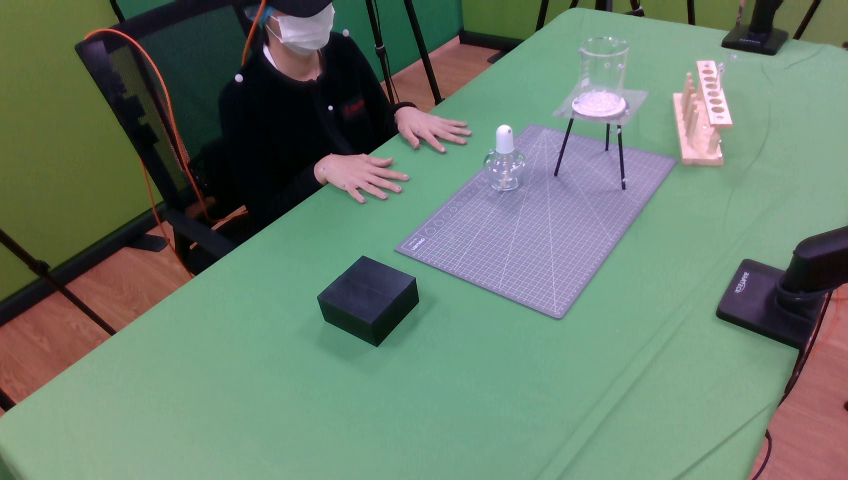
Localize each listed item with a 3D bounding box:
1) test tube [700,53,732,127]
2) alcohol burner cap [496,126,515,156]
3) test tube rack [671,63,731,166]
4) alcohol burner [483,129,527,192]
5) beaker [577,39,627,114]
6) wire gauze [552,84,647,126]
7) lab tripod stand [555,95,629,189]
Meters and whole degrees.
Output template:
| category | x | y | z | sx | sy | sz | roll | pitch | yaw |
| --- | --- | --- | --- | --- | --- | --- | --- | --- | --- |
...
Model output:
| category | x | y | z | sx | sy | sz | roll | pitch | yaw |
| --- | --- | --- | --- | --- | --- | --- | --- | --- | --- |
| test tube | 0.521 | -0.265 | 1.081 | 0.017 | 0.151 | 0.017 | -3 | 47 | 3 |
| alcohol burner cap | 0.138 | -0.172 | 1.028 | 0.034 | 0.048 | 0.033 | -5 | 38 | 5 |
| test tube rack | 0.513 | -0.241 | 1.132 | 0.066 | 0.085 | 0.242 | 4 | 41 | 14 |
| alcohol burner | 0.141 | -0.144 | 1.050 | 0.078 | 0.119 | 0.077 | -4 | 42 | 4 |
| beaker | 0.286 | -0.264 | 0.976 | 0.073 | 0.101 | 0.084 | 25 | 49 | 33 |
| wire gauze | 0.293 | -0.224 | 1.004 | 0.120 | 0.011 | 0.125 | 19 | 43 | 26 |
| lab tripod stand | 0.300 | -0.174 | 1.045 | 0.148 | 0.132 | 0.147 | -5 | 38 | 5 |
